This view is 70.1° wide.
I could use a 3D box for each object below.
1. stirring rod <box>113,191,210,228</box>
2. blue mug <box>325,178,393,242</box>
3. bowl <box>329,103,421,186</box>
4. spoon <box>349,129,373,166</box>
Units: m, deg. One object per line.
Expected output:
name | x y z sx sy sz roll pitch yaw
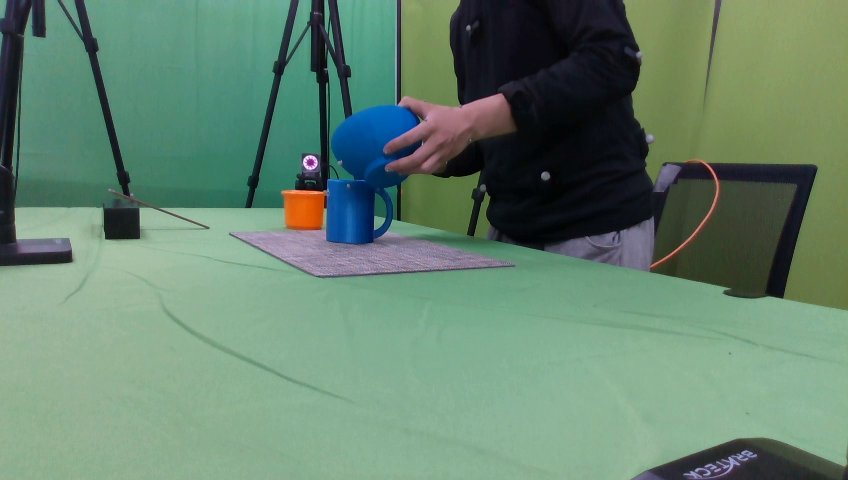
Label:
stirring rod | -0.484 -0.055 1.121 0.177 0.006 0.014 22 -6 -22
blue mug | -0.111 -0.052 1.034 0.116 0.106 0.082 3 7 7
bowl | -0.067 -0.137 0.953 0.151 0.076 0.151 -16 -23 -7
spoon | -0.113 -0.177 1.106 0.021 0.042 0.193 -20 21 9
